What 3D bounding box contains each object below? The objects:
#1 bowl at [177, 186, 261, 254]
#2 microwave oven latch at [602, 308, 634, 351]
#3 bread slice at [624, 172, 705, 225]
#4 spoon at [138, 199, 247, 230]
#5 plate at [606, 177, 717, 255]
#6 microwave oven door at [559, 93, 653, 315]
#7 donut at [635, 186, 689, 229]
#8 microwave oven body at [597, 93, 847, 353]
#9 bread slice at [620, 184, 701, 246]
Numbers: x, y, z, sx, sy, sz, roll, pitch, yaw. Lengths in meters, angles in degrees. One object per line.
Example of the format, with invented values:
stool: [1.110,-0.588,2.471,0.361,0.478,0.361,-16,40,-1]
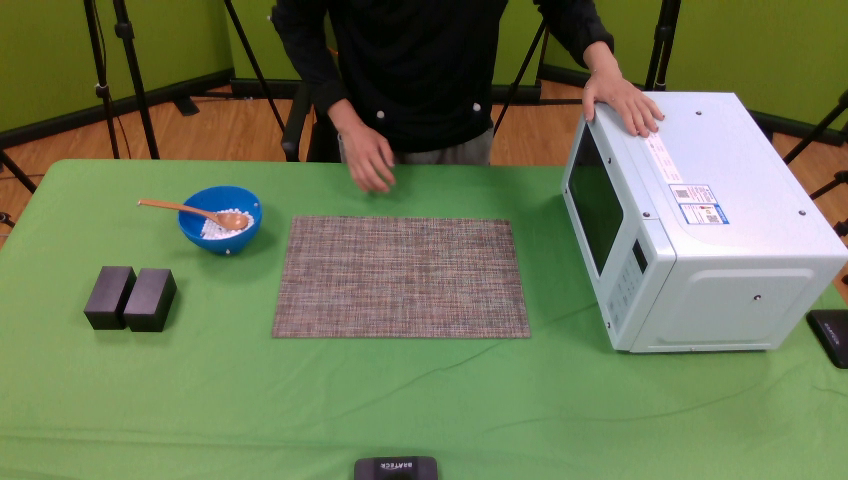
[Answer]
bowl: [-0.383,-0.026,1.158,0.151,0.077,0.150,2,46,-2]
microwave oven latch: [0.332,0.153,1.044,0.030,0.029,0.078,-1,45,-4]
bread slice: [0.460,-0.079,1.139,0.131,0.019,0.105,35,51,30]
spoon: [-0.431,-0.053,1.136,0.194,0.022,0.041,15,48,-20]
plate: [0.456,-0.043,1.181,0.208,0.039,0.206,1,46,-1]
microwave oven door: [0.327,-0.074,1.123,0.039,0.245,0.353,-1,46,-5]
donut: [0.454,-0.062,1.159,0.099,0.048,0.098,-1,48,2]
microwave oven body: [0.475,-0.041,1.110,0.326,0.261,0.438,-1,45,-4]
bread slice: [0.462,-0.044,1.170,0.134,0.018,0.107,32,59,21]
